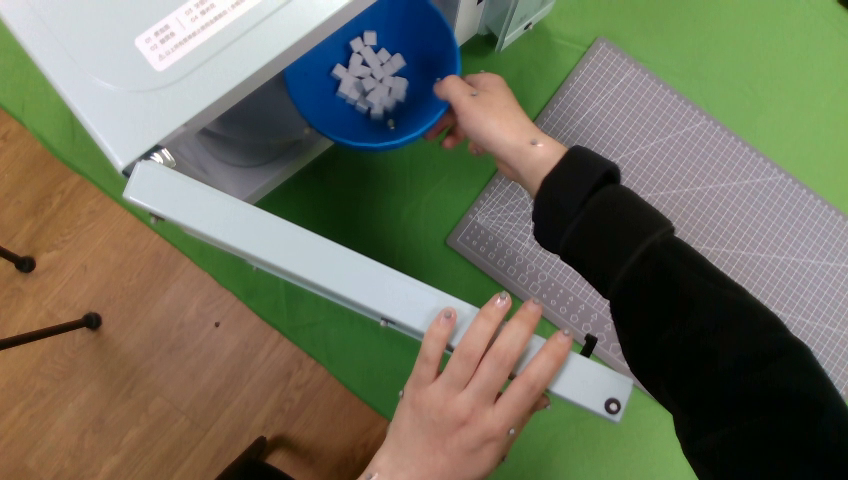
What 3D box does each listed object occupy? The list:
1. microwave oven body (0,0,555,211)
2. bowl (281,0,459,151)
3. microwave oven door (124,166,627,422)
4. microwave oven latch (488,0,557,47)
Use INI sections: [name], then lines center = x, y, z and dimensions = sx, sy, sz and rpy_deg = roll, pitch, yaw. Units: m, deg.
[microwave oven body]
center = -0.118, -0.264, 0.551
dimensions = 0.441, 0.260, 0.325
rpy_deg = -39, 86, -7
[bowl]
center = -0.046, -0.142, 0.545
dimensions = 0.151, 0.077, 0.150
rpy_deg = 1, 79, -3
[microwave oven door]
center = -0.036, 0.050, 0.507
dimensions = 0.356, 0.244, 0.039
rpy_deg = 24, 80, 0
[microwave oven latch]
center = 0.108, -0.246, 0.659
dimensions = 0.079, 0.029, 0.030
rpy_deg = -37, 86, -7
